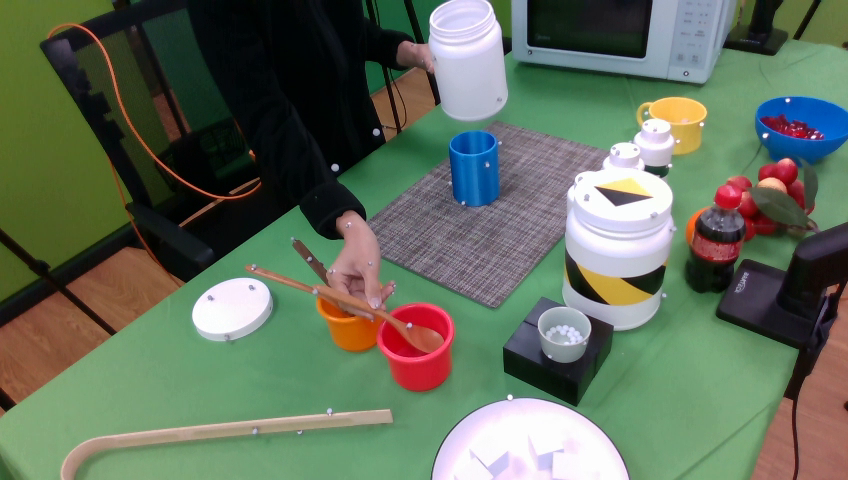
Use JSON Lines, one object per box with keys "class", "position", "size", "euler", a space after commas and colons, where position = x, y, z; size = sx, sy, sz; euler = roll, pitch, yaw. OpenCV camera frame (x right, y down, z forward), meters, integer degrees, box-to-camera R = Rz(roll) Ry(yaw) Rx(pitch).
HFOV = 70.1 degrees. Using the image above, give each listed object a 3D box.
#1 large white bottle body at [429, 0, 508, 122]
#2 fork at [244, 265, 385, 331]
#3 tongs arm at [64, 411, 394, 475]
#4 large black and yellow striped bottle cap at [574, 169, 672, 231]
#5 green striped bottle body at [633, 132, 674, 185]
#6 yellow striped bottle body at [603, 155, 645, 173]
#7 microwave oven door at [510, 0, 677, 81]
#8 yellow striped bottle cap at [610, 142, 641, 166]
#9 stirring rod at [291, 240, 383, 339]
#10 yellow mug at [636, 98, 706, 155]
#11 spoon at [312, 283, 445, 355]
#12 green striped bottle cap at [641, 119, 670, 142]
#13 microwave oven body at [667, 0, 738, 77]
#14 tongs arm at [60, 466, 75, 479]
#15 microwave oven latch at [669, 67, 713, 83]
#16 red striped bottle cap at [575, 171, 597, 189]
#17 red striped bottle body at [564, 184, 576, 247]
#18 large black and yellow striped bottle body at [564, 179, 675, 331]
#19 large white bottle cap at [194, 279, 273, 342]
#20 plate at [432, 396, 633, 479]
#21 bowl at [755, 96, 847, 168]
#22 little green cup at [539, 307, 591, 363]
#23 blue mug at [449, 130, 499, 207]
{"class": "large white bottle body", "position": [0.080, -0.322, 1.094], "size": [0.130, 0.185, 0.130], "euler": [-7, 48, 8]}
{"class": "fork", "position": [-0.142, 0.079, 0.806], "size": [0.209, 0.018, 0.028], "euler": [30, 31, -24]}
{"class": "tongs arm", "position": [-0.228, 0.240, 0.715], "size": [0.385, 0.026, 0.050], "euler": [-4, 44, 5]}
{"class": "large black and yellow striped bottle cap", "position": [0.242, -0.051, 0.738], "size": [0.115, 0.019, 0.114], "euler": [-4, 37, 3]}
{"class": "green striped bottle body", "position": [0.376, -0.135, 1.001], "size": [0.063, 0.120, 0.063], "euler": [-5, 40, 5]}
{"class": "yellow striped bottle body", "position": [0.314, -0.090, 0.957], "size": [0.063, 0.121, 0.062], "euler": [-4, 40, 4]}
{"class": "microwave oven door", "position": [0.354, -0.478, 1.290], "size": [0.353, 0.245, 0.039], "euler": [15, 45, 25]}
{"class": "yellow striped bottle cap", "position": [0.309, -0.131, 0.925], "size": [0.044, 0.019, 0.044], "euler": [-4, 45, 5]}
{"class": "stirring rod", "position": [-0.118, 0.068, 0.825], "size": [0.176, 0.006, 0.014], "euler": [48, 59, -3]}
{"class": "yellow mug", "position": [0.453, -0.217, 1.128], "size": [0.100, 0.064, 0.129], "euler": [-34, 46, -27]}
{"class": "spoon", "position": [-0.052, 0.094, 0.739], "size": [0.021, 0.195, 0.041], "euler": [-35, 35, 35]}
{"class": "green striped bottle cap", "position": [0.371, -0.175, 0.968], "size": [0.044, 0.020, 0.044], "euler": [-5, 41, 5]}
{"class": "microwave oven body", "position": [0.462, -0.552, 1.369], "size": [0.439, 0.261, 0.326], "euler": [15, 45, 26]}
{"class": "tongs arm", "position": [-0.239, 0.301, 0.649], "size": [0.386, 0.028, 0.028], "euler": [6, 49, 16]}
{"class": "microwave oven latch", "position": [0.556, -0.348, 1.261], "size": [0.078, 0.029, 0.030], "euler": [16, 46, 27]}
{"class": "red striped bottle cap", "position": [0.242, -0.081, 0.876], "size": [0.044, 0.018, 0.044], "euler": [-5, 44, 5]}
{"class": "red striped bottle body", "position": [0.247, -0.041, 0.910], "size": [0.063, 0.120, 0.062], "euler": [-3, 39, 3]}
{"class": "large black and yellow striped bottle body", "position": [0.253, 0.014, 0.793], "size": [0.131, 0.185, 0.130], "euler": [-5, 40, 4]}
{"class": "large white bottle cap", "position": [-0.284, 0.103, 0.902], "size": [0.115, 0.018, 0.114], "euler": [-4, 40, 4]}
{"class": "plate", "position": [0.112, 0.261, 0.634], "size": [0.209, 0.038, 0.208], "euler": [-5, 40, 4]}
{"class": "bowl", "position": [0.645, -0.177, 1.041], "size": [0.151, 0.077, 0.150], "euler": [-5, 40, 4]}
{"class": "little green cup", "position": [0.167, 0.114, 0.721], "size": [0.061, 0.039, 0.061], "euler": [-4, 43, 4]}
{"class": "blue mug", "position": [0.089, -0.132, 1.049], "size": [0.082, 0.106, 0.116], "euler": [0, 40, 8]}
